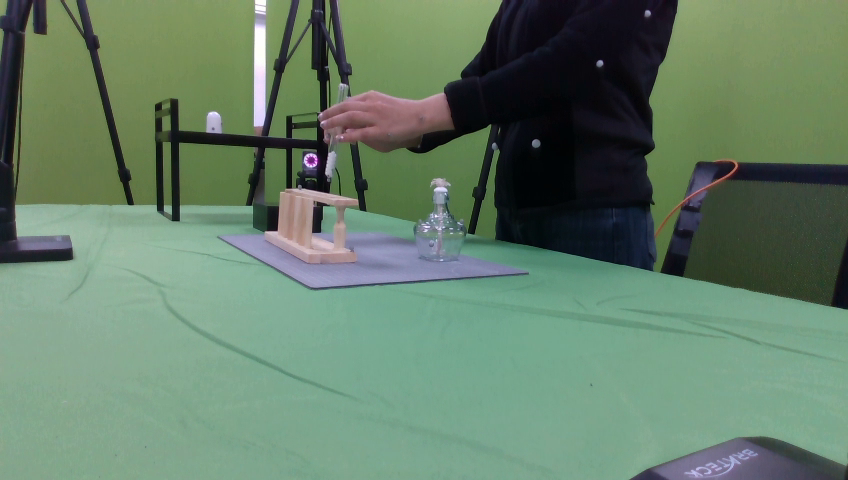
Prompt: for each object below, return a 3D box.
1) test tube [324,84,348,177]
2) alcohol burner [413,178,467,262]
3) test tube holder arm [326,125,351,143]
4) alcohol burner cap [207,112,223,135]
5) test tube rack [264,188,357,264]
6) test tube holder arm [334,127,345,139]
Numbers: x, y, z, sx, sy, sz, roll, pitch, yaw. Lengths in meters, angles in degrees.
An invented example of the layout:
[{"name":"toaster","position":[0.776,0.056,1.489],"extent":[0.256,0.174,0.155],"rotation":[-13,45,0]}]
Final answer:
[{"name":"test tube","position":[-0.141,-0.175,0.968],"extent":[0.017,0.150,0.017],"rotation":[10,4,0]},{"name":"alcohol burner","position":[0.023,-0.029,0.864],"extent":[0.078,0.119,0.078],"rotation":[1,6,0]},{"name":"test tube holder arm","position":[-0.144,-0.181,1.036],"extent":[0.013,0.015,0.178],"rotation":[19,5,-1]},{"name":"alcohol burner cap","position":[-0.440,-0.245,1.271],"extent":[0.034,0.048,0.034],"rotation":[2,8,0]},{"name":"test tube rack","position":[-0.174,-0.027,0.890],"extent":[0.067,0.085,0.241],"rotation":[-1,8,-28]},{"name":"test tube holder arm","position":[-0.138,-0.175,0.991],"extent":[0.010,0.015,0.087],"rotation":[19,5,-6]}]
